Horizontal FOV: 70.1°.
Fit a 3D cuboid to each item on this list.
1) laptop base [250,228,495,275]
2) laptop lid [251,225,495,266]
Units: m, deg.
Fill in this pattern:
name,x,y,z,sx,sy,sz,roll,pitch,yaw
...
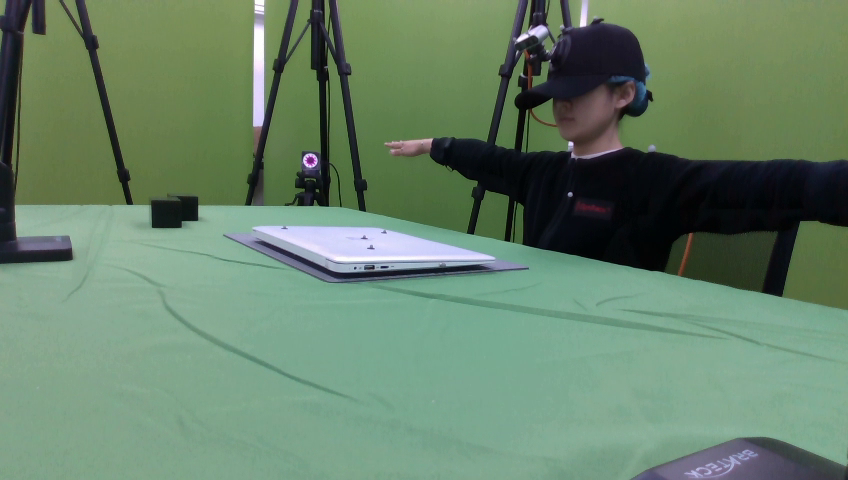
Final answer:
name,x,y,z,sx,sy,sz,roll,pitch,yaw
laptop base,-0.093,0.015,0.884,0.237,0.023,0.352,3,6,-32
laptop lid,-0.090,0.004,0.883,0.243,0.013,0.355,1,7,-31
